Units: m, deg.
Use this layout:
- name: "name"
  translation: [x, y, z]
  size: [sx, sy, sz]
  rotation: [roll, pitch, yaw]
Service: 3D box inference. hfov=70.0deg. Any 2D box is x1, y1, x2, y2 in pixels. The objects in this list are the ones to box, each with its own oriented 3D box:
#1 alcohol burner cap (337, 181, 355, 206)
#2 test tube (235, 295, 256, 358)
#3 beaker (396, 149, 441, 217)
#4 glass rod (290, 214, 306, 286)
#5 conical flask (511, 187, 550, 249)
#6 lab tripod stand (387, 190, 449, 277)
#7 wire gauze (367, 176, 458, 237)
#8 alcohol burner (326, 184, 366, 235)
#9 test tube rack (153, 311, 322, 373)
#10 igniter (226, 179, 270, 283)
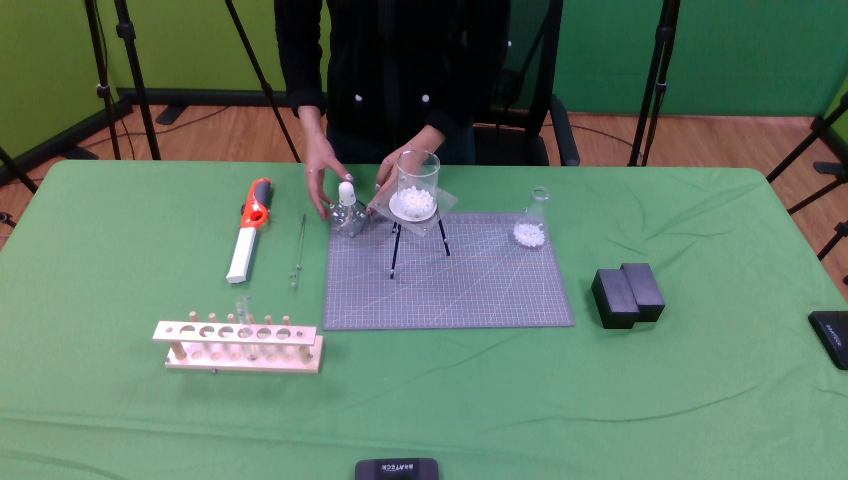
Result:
- name: "alcohol burner cap"
  translation: [-0.151, -0.090, 1.158]
  size: [0.034, 0.048, 0.033]
  rotation: [0, 52, 0]
- name: "test tube"
  translation: [-0.274, 0.136, 0.933]
  size: [0.017, 0.151, 0.017]
  rotation: [4, 46, -4]
- name: "beaker"
  translation: [-0.015, -0.098, 1.053]
  size: [0.074, 0.101, 0.083]
  rotation: [-31, 55, -30]
- name: "glass rod"
  translation: [-0.245, 0.015, 1.176]
  size: [0.008, 0.008, 0.198]
  rotation: [1, 43, -3]
- name: "conical flask"
  translation: [0.217, -0.048, 1.190]
  size: [0.075, 0.122, 0.075]
  rotation: [2, 46, -2]
- name: "lab tripod stand"
  translation: [-0.021, -0.018, 1.135]
  size: [0.148, 0.132, 0.147]
  rotation: [3, 44, -3]
- name: "wire gauze"
  translation: [-0.020, -0.066, 1.089]
  size: [0.124, 0.011, 0.121]
  rotation: [27, 47, 22]
- name: "alcohol burner"
  translation: [-0.152, -0.066, 1.184]
  size: [0.078, 0.119, 0.077]
  rotation: [4, 46, -4]
- name: "test tube rack"
  translation: [-0.293, 0.160, 0.978]
  size: [0.242, 0.085, 0.066]
  rotation: [3, 46, -2]
- name: "igniter"
  translation: [-0.345, -0.027, 1.195]
  size: [0.057, 0.025, 0.274]
  rotation: [-6, 46, 5]
